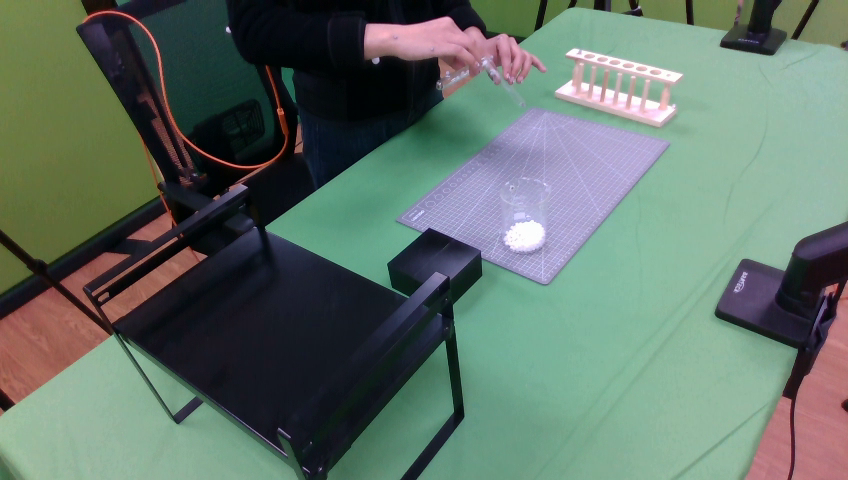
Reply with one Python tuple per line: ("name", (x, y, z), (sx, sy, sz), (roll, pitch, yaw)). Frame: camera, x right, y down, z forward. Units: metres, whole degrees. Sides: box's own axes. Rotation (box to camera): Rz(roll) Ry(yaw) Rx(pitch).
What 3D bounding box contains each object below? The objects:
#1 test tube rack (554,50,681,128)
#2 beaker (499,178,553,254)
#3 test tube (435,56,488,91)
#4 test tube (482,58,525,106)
("test tube rack", (0.388, -0.311, 1.234), (0.240, 0.085, 0.067), (28, 51, 34))
("beaker", (0.158, -0.036, 0.929), (0.084, 0.100, 0.073), (-16, 41, -12))
("test tube", (0.062, -0.269, 0.972), (0.017, 0.017, 0.151), (19, 39, 28))
("test tube", (0.144, -0.279, 1.082), (0.017, 0.151, 0.017), (-13, 66, 31))
